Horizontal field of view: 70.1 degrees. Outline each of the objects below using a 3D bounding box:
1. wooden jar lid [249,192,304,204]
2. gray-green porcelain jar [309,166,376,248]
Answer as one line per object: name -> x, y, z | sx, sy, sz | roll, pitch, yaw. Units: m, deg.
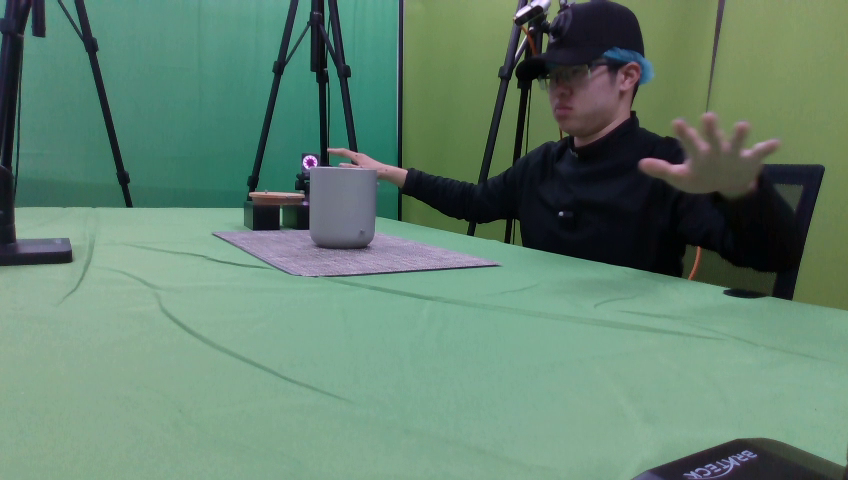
wooden jar lid -> -0.297, -0.086, 1.220 | 0.108, 0.020, 0.108 | 4, 7, 0
gray-green porcelain jar -> -0.130, -0.054, 0.966 | 0.106, 0.126, 0.106 | 2, 7, 0
